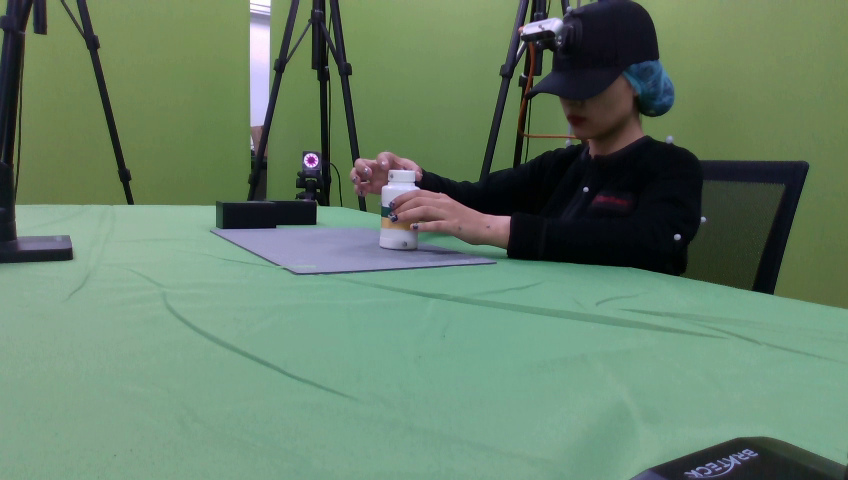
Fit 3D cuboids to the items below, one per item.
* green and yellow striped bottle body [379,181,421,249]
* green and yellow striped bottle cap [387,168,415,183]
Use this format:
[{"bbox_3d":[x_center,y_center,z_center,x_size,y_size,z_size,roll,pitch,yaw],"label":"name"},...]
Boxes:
[{"bbox_3d":[-0.038,-0.048,0.959,0.063,0.119,0.063,3,7,0],"label":"green and yellow striped bottle body"},{"bbox_3d":[-0.036,-0.102,0.952,0.045,0.020,0.045,4,7,0],"label":"green and yellow striped bottle cap"}]
